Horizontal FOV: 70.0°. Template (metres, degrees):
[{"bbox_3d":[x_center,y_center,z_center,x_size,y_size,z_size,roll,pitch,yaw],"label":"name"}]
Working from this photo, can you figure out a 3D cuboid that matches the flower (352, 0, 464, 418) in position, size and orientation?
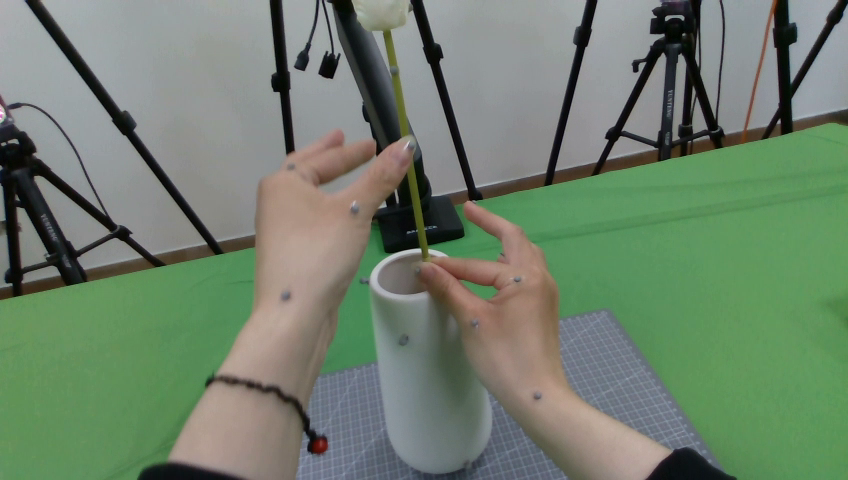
[{"bbox_3d":[-0.002,-0.022,0.431,0.038,0.364,0.043,-18,22,-17],"label":"flower"}]

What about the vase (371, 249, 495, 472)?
[{"bbox_3d":[0.006,0.107,0.525,0.098,0.202,0.097,-7,31,5],"label":"vase"}]
